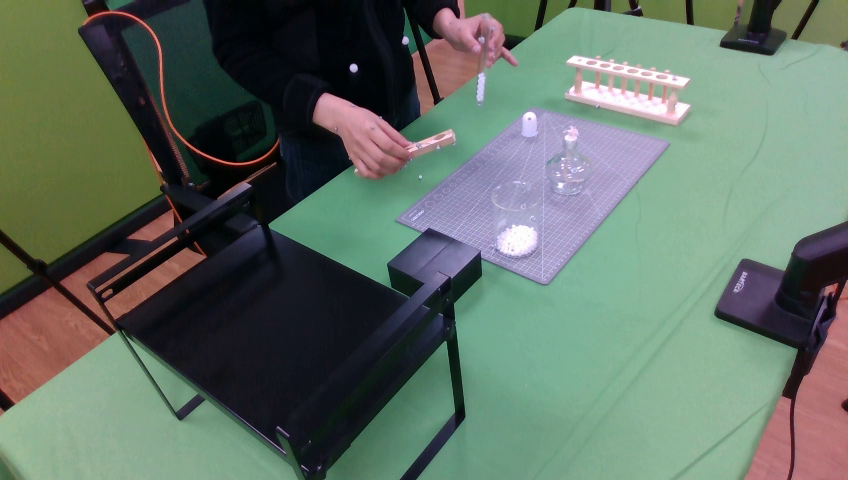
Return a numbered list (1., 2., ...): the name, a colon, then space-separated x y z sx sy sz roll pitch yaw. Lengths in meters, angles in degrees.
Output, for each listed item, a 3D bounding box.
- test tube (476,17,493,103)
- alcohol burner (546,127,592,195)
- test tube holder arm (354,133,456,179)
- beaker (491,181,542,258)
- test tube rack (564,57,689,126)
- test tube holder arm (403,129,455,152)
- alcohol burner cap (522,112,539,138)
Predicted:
1. test tube: 0.105 -0.312 1.057 0.017 0.150 0.017 2 34 -1
2. alcohol burner: 0.246 -0.137 1.023 0.078 0.119 0.077 -4 38 4
3. test tube holder arm: -0.033 -0.131 0.947 0.178 0.015 0.013 -19 42 21
4. beaker: 0.144 -0.030 0.925 0.073 0.100 0.084 23 48 31
5. test tube rack: 0.411 -0.311 1.230 0.240 0.085 0.067 23 49 32
6. test tube holder arm: 0.007 -0.149 0.934 0.087 0.015 0.010 -19 42 22
7. alcohol burner cap: 0.210 -0.230 1.195 0.034 0.048 0.033 -6 41 5
